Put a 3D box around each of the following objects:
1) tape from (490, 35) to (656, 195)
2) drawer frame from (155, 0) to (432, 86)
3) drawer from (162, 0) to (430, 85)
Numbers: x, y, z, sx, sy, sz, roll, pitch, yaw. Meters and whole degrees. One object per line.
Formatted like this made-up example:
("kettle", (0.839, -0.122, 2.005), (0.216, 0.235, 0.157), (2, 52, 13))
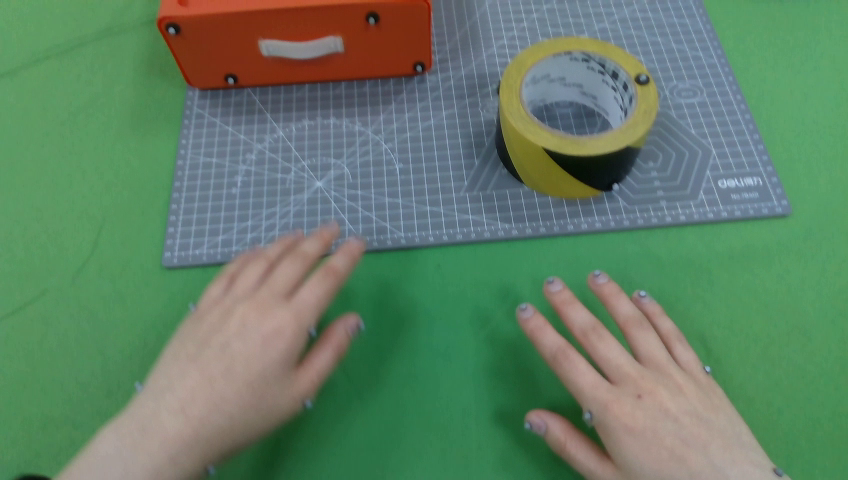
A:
("tape", (0.109, -0.092, 0.447), (0.117, 0.053, 0.116), (-1, 62, 2))
("drawer frame", (-0.101, -0.238, 0.514), (0.202, 0.083, 0.211), (-5, 60, -1))
("drawer", (-0.099, -0.236, 0.513), (0.194, 0.074, 0.210), (-5, 61, 0))
